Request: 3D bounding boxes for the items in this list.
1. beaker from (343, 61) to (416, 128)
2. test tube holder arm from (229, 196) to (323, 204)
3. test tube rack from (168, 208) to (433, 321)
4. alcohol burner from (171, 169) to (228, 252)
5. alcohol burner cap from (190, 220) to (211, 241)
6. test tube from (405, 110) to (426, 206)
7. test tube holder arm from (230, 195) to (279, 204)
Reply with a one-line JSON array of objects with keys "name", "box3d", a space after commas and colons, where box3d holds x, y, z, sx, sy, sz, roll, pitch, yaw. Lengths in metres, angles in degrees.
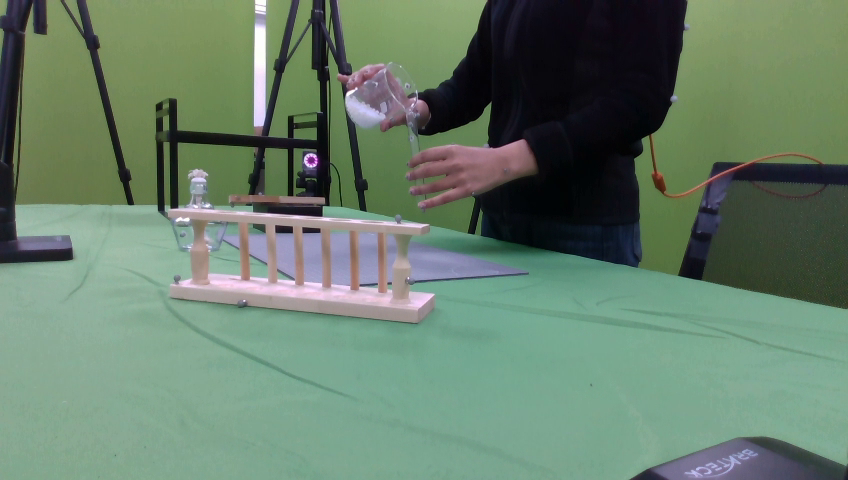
[{"name": "beaker", "box3d": [-0.072, -0.225, 0.962, 0.100, 0.084, 0.074, -20, 0, 37]}, {"name": "test tube holder arm", "box3d": [-0.276, -0.075, 1.144, 0.179, 0.015, 0.013, -1, 1, -33]}, {"name": "test tube rack", "box3d": [-0.115, 0.017, 0.574, 0.242, 0.085, 0.067, 4, 8, 14]}, {"name": "alcohol burner", "box3d": [-0.325, -0.043, 0.875, 0.078, 0.119, 0.078, 0, 7, 0]}, {"name": "alcohol burner cap", "box3d": [-0.365, -0.023, 0.988, 0.034, 0.048, 0.034, 1, 7, 0]}, {"name": "test tube", "box3d": [-0.013, -0.127, 0.936, 0.017, 0.150, 0.017, -7, 1, 0]}, {"name": "test tube holder arm", "box3d": [-0.311, -0.075, 1.115, 0.088, 0.015, 0.010, -1, 1, -31]}]
